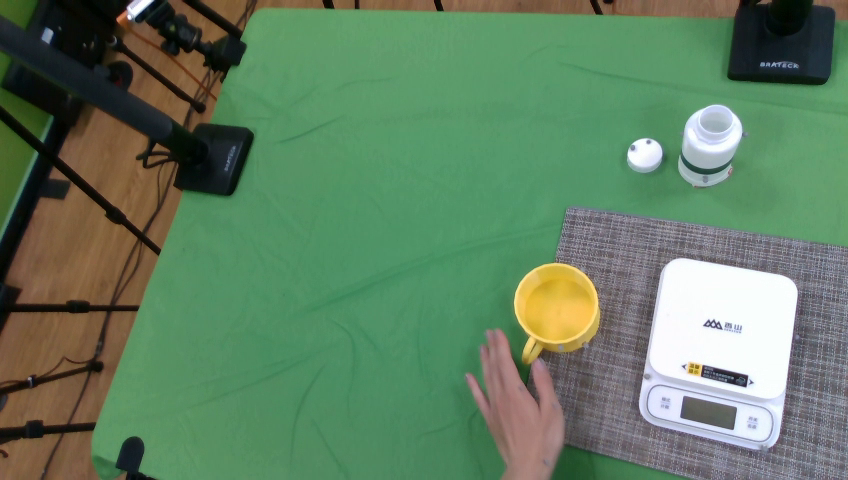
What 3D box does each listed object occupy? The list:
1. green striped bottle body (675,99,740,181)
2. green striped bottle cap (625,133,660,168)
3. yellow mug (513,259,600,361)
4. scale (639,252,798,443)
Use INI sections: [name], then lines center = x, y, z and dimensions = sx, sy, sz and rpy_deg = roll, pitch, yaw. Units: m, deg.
[green striped bottle body]
center = 0.344, -0.124, 0.738
dimensions = 0.063, 0.120, 0.063
rpy_deg = -5, 69, 15
[green striped bottle cap]
center = 0.293, -0.120, 0.811
dimensions = 0.044, 0.020, 0.044
rpy_deg = -4, 77, 17
[yellow mug]
center = 0.157, 0.093, 0.748
dimensions = 0.099, 0.064, 0.130
rpy_deg = 29, 83, 24
[scale]
center = 0.339, 0.119, 0.702
dimensions = 0.148, 0.032, 0.200
rpy_deg = 10, 76, 20
